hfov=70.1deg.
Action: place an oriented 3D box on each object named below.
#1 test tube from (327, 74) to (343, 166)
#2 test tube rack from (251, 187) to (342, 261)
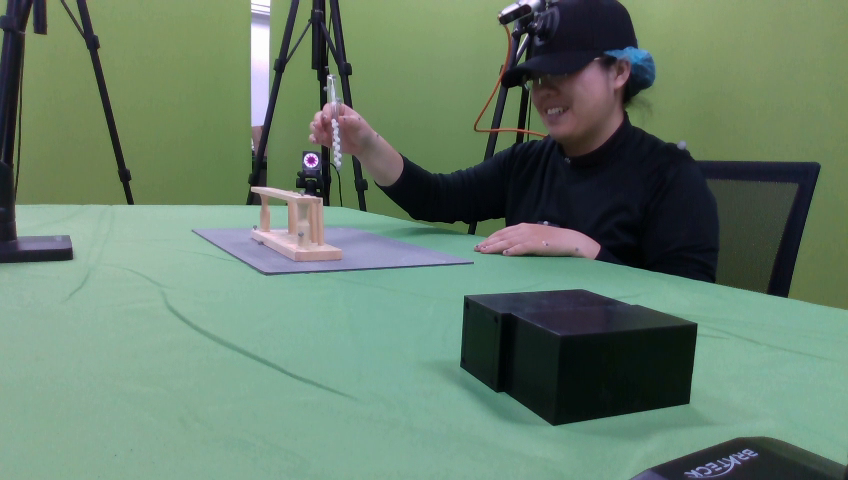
[{"bbox_3d":[-0.146,-0.196,0.988,0.017,0.150,0.017,-4,0,0],"label":"test tube"},{"bbox_3d":[-0.196,-0.030,0.902,0.067,0.085,0.241,-2,8,-29],"label":"test tube rack"}]
